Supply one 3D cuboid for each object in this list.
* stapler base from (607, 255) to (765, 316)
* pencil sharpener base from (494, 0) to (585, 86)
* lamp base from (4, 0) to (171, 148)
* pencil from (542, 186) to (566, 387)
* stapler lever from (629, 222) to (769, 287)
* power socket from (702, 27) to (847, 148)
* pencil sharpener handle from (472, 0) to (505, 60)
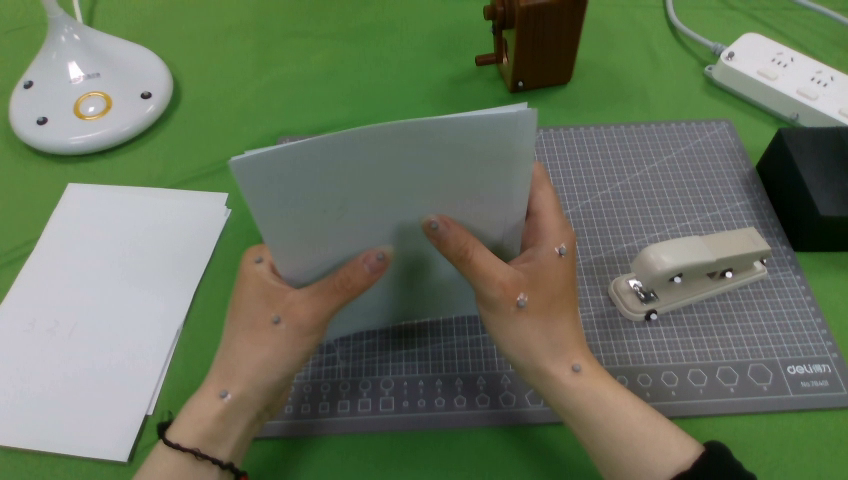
[{"bbox_3d":[0.212,0.023,0.486,0.131,0.024,0.041,-16,57,-12],"label":"stapler base"},{"bbox_3d":[0.109,-0.217,0.609,0.077,0.108,0.060,-12,56,-7],"label":"pencil sharpener base"},{"bbox_3d":[-0.350,-0.207,0.563,0.161,0.182,0.177,-29,57,-18],"label":"lamp base"},{"bbox_3d":[0.104,0.028,0.493,0.012,0.012,0.192,2,53,3],"label":"pencil"},{"bbox_3d":[0.213,0.007,0.466,0.118,0.040,0.026,-16,57,-12],"label":"stapler lever"},{"bbox_3d":[0.392,-0.144,0.599,0.072,0.033,0.225,-38,62,-24],"label":"power socket"},{"bbox_3d":[0.060,-0.210,0.588,0.031,0.068,0.035,-12,33,-7],"label":"pencil sharpener handle"}]
